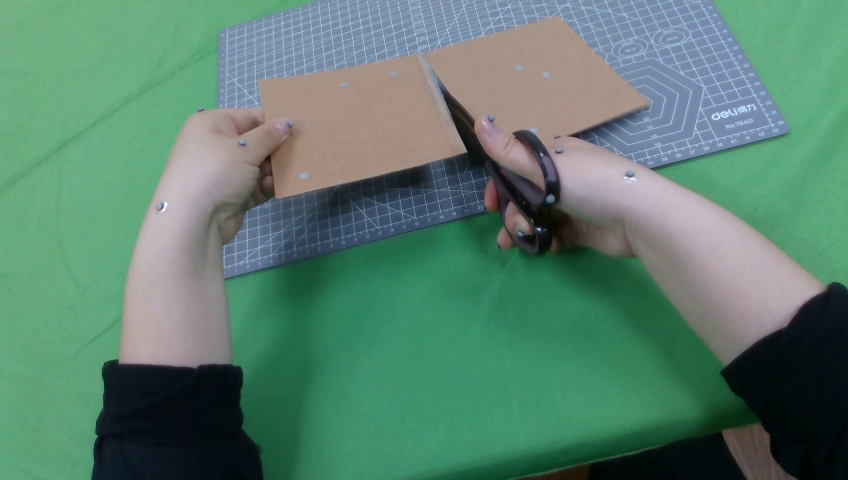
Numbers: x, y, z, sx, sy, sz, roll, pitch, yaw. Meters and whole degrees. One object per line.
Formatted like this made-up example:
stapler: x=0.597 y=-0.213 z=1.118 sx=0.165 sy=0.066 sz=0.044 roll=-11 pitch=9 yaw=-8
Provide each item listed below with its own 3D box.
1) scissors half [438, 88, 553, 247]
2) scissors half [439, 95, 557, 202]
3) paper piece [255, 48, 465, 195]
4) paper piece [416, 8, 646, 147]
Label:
scissors half: x=0.045 y=-0.059 z=0.435 sx=0.013 sy=0.040 sz=0.173 roll=-19 pitch=55 yaw=-12
scissors half: x=0.043 y=-0.075 z=0.421 sx=0.013 sy=0.040 sz=0.173 roll=-15 pitch=32 yaw=-16
paper piece: x=-0.054 y=-0.096 z=0.453 sx=0.138 sy=0.009 sz=0.134 roll=-15 pitch=47 yaw=-5
paper piece: x=0.083 y=-0.136 z=0.486 sx=0.135 sy=0.004 sz=0.134 roll=-21 pitch=58 yaw=-17
